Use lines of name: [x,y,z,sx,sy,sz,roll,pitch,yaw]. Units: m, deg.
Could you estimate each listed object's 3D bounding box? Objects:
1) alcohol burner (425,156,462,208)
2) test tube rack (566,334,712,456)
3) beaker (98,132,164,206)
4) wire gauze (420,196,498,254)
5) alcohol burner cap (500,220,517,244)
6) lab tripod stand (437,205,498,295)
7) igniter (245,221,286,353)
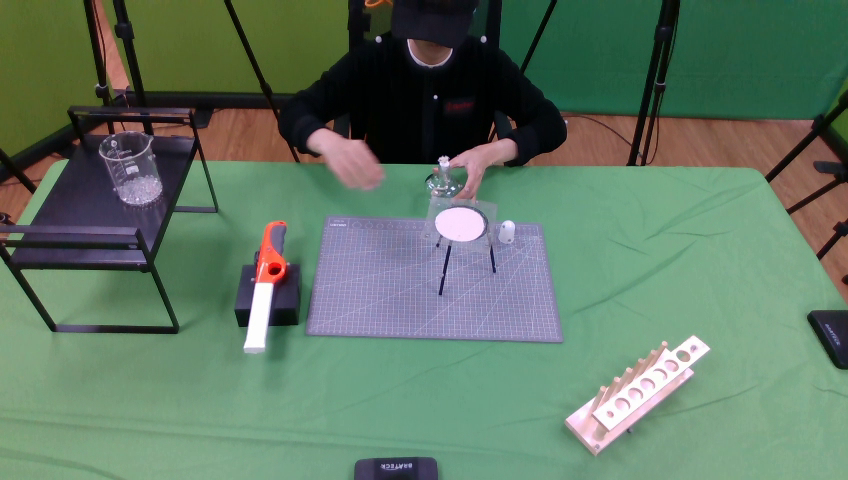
alcohol burner: [0.042,-0.126,1.256,0.078,0.119,0.077,3,45,-3]
test tube rack: [0.339,0.228,0.951,0.242,0.085,0.066,-26,52,-26]
beaker: [-0.460,-0.112,0.968,0.073,0.101,0.084,37,54,28]
wire gauze: [0.062,-0.032,1.054,0.125,0.011,0.121,9,46,8]
alcohol burner cap: [0.170,-0.018,1.205,0.034,0.048,0.033,1,46,0]
lab tripod stand: [0.066,0.010,1.107,0.148,0.132,0.147,0,46,0]
igniter: [-0.270,0.070,1.040,0.057,0.025,0.274,2,48,-6]
